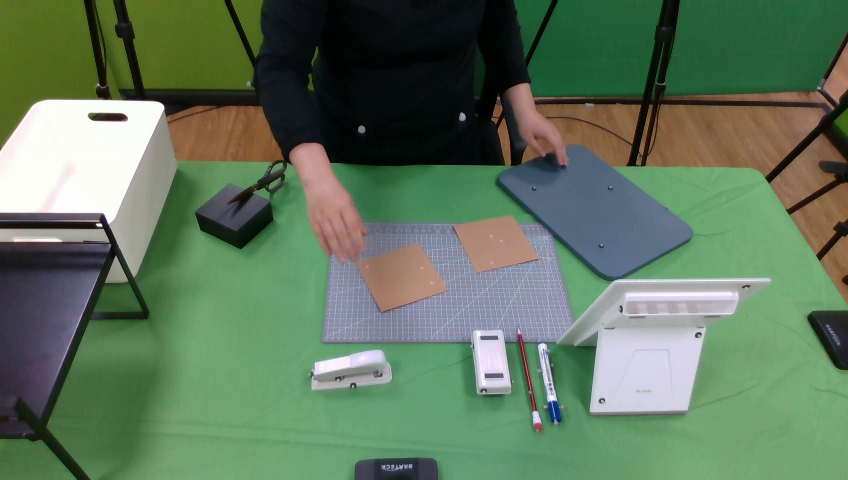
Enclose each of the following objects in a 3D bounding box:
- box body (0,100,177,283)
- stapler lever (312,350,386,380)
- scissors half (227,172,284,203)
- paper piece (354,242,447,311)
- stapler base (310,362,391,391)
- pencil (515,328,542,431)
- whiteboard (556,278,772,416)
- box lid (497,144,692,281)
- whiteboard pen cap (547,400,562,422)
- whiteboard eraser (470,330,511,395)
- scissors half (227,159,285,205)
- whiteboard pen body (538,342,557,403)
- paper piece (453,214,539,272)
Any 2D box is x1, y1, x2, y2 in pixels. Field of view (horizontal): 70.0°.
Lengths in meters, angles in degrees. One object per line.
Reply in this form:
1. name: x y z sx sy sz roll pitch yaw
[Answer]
1. box body: -0.640 -0.095 1.140 0.254 0.161 0.361 1 46 -4
2. stapler lever: -0.120 0.199 0.963 0.118 0.040 0.026 -4 44 -8
3. scissors half: -0.339 -0.101 1.230 0.013 0.040 0.175 21 28 17
4. paper piece: -0.045 0.066 1.137 0.136 0.009 0.137 -15 48 -22
5. stapler base: -0.119 0.215 0.980 0.131 0.024 0.041 -5 44 -7
6. pencil: 0.169 0.224 1.002 0.012 0.012 0.192 -2 46 -6
7. whiteboard: 0.347 0.174 0.903 0.217 0.306 0.143 1 65 -4
8. box lid: 0.360 -0.074 1.305 0.263 0.015 0.369 -24 52 -25
9. whiteboard pen cap: 0.205 0.269 0.956 0.018 0.018 0.033 0 47 -5
10. whiteboard eraser: 0.109 0.202 0.998 0.055 0.042 0.112 1 46 -5
11. scissors half: -0.336 -0.117 1.217 0.013 0.040 0.175 25 46 14
12. whiteboard pen body: 0.205 0.228 0.997 0.017 0.017 0.140 1 46 -3
13. paper piece: 0.142 0.003 1.213 0.135 0.004 0.135 -12 47 -13
